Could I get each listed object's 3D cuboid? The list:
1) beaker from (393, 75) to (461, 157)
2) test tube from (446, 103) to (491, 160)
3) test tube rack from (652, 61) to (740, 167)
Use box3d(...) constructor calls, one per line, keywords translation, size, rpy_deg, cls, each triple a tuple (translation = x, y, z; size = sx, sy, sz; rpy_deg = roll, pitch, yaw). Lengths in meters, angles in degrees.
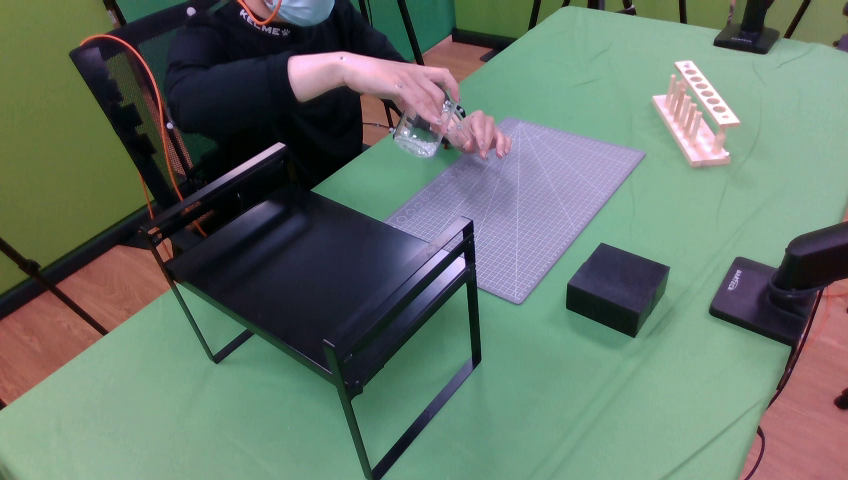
box3d(translation=(0.003, -0.180, 0.903), size=(0.073, 0.084, 0.100), rpy_deg=(19, 80, 34), cls="beaker")
box3d(translation=(0.076, -0.176, 0.999), size=(0.017, 0.151, 0.017), rpy_deg=(-14, 58, 25), cls="test tube")
box3d(translation=(0.499, -0.242, 1.130), size=(0.067, 0.085, 0.241), rpy_deg=(-5, 41, 4), cls="test tube rack")
